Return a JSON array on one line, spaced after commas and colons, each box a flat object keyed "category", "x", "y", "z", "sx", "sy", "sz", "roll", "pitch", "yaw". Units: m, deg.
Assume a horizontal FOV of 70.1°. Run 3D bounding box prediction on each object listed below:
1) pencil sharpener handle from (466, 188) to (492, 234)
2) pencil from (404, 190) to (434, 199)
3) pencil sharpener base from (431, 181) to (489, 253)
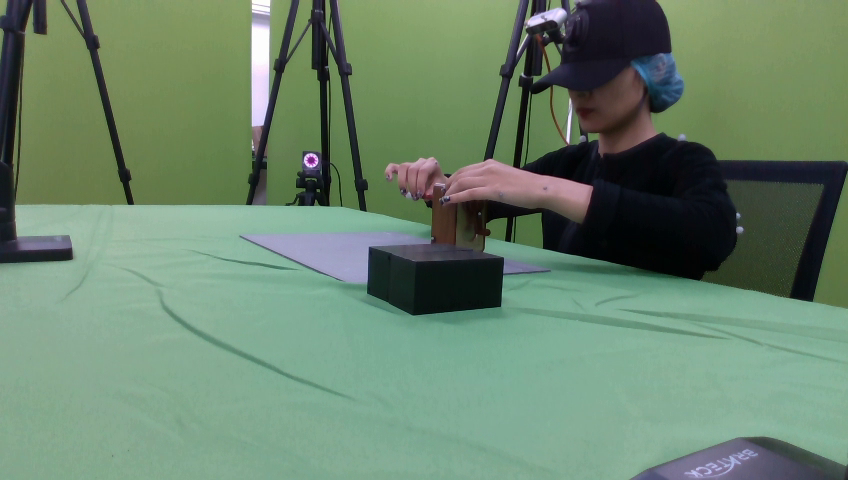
[{"category": "pencil sharpener handle", "x": 0.087, "y": -0.042, "z": 0.901, "sx": 0.036, "sy": 0.068, "sz": 0.030, "roll": -15, "pitch": 15, "yaw": -29}, {"category": "pencil", "x": 0.018, "y": -0.072, "z": 1.008, "sx": 0.012, "sy": 0.012, "sz": 0.193, "roll": -2, "pitch": 8, "yaw": -31}, {"category": "pencil sharpener base", "x": 0.057, "y": -0.037, "z": 0.943, "sx": 0.062, "sy": 0.107, "sz": 0.076, "roll": -1, "pitch": 9, "yaw": -31}]
